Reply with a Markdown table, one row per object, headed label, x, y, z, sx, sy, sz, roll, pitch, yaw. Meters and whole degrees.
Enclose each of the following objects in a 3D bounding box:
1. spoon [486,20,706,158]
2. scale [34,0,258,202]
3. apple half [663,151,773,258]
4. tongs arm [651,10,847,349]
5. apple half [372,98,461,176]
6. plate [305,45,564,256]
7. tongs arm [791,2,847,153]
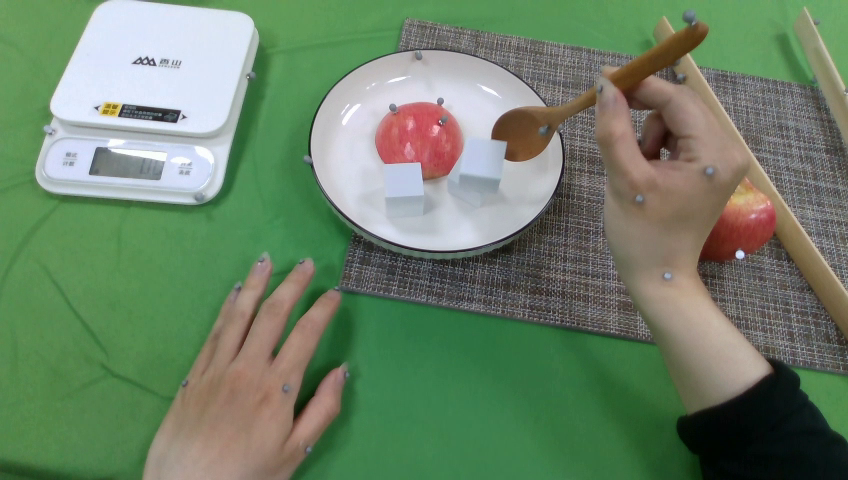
| label | x | y | z | sx | sy | sz | roll | pitch | yaw |
| --- | --- | --- | --- | --- | --- | --- | --- | --- | --- |
| spoon | 0.096 | -0.088 | 0.384 | 0.021 | 0.193 | 0.042 | -44 | 102 | -21 |
| scale | -0.233 | -0.127 | 0.519 | 0.149 | 0.032 | 0.199 | 5 | 62 | -2 |
| apple half | 0.218 | -0.021 | 0.472 | 0.053 | 0.075 | 0.080 | -26 | 70 | -13 |
| tongs arm | 0.290 | -0.058 | 0.525 | 0.028 | 0.028 | 0.384 | -11 | 64 | -15 |
| apple half | -0.004 | -0.092 | 0.506 | 0.081 | 0.033 | 0.080 | 2 | 58 | -3 |
| plate | 0.009 | -0.074 | 0.504 | 0.209 | 0.038 | 0.207 | 2 | 61 | -4 |
| tongs arm | 0.373 | -0.067 | 0.534 | 0.051 | 0.027 | 0.381 | 0 | 63 | -6 |
